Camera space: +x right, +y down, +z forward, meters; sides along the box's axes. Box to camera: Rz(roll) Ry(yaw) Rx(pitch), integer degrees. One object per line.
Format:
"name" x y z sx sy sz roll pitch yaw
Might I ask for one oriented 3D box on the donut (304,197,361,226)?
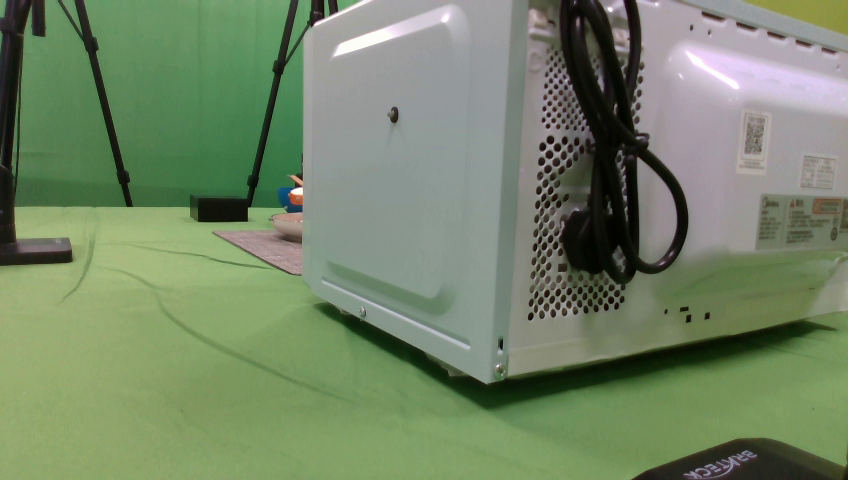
"donut" -0.159 -0.050 1.055 0.099 0.048 0.099 3 7 0

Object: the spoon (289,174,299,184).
"spoon" -0.260 -0.110 1.343 0.042 0.021 0.192 -8 33 -31

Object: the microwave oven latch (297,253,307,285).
"microwave oven latch" -0.082 0.027 0.583 0.079 0.029 0.030 -1 8 -33

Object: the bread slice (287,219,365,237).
"bread slice" -0.170 -0.021 1.057 0.134 0.018 0.107 3 7 -6

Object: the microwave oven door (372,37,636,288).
"microwave oven door" 0.109 -0.080 0.686 0.358 0.243 0.039 -2 9 -33

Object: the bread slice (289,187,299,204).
"bread slice" -0.167 -0.079 1.052 0.131 0.019 0.105 0 14 0

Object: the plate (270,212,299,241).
"plate" -0.162 -0.022 1.058 0.208 0.039 0.207 2 7 0

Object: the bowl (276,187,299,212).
"bowl" -0.241 -0.073 1.302 0.151 0.077 0.151 2 7 0

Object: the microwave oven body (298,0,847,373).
"microwave oven body" 0.151 -0.055 0.543 0.444 0.260 0.324 -1 7 -33
